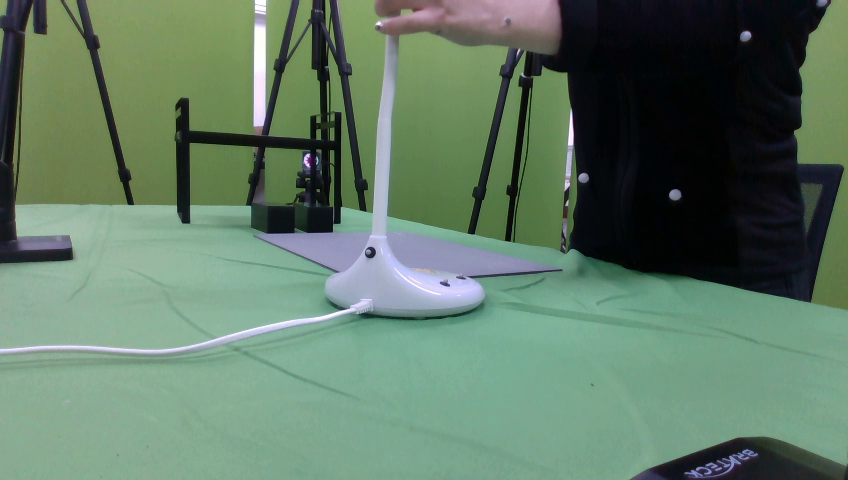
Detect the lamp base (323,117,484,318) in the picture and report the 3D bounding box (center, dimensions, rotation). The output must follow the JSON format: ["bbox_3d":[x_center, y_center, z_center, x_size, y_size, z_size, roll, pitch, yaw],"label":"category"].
[{"bbox_3d":[-0.021,-0.025,0.582,0.160,0.180,0.179,4,10,16],"label":"lamp base"}]
